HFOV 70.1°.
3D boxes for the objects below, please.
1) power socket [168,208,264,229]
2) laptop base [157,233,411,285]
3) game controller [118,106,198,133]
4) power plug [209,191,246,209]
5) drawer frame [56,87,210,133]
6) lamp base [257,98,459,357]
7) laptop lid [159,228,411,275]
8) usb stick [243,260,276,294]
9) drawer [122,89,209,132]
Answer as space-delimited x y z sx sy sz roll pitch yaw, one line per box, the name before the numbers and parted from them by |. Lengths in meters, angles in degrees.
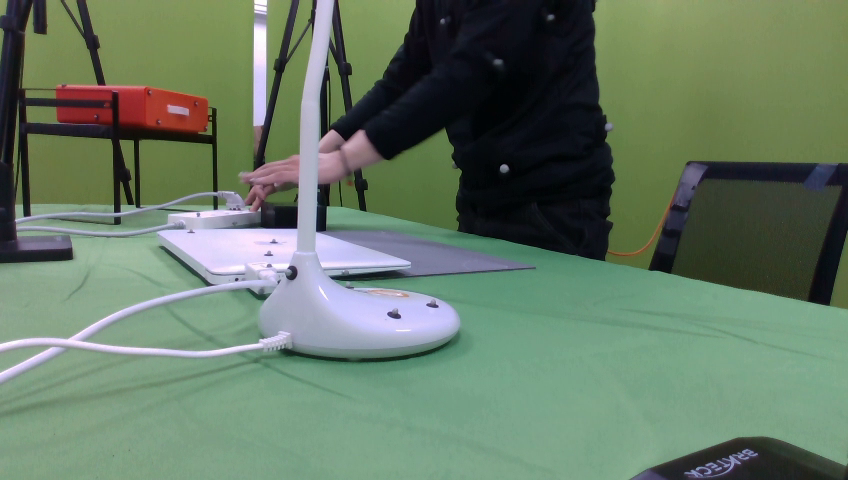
power socket | -0.381 -0.038 1.128 0.072 0.032 0.227 4 8 16
laptop base | -0.204 0.019 0.807 0.237 0.023 0.352 0 7 -33
game controller | -0.555 -0.251 1.255 0.097 0.051 0.155 9 12 18
power plug | -0.388 -0.071 1.204 0.072 0.052 0.035 4 8 25
drawer frame | -0.598 -0.269 1.261 0.213 0.082 0.202 4 8 14
lamp base | -0.055 -0.014 0.463 0.160 0.180 0.180 6 11 27
laptop lid | -0.201 0.007 0.806 0.243 0.013 0.355 -1 8 -31
usb stick | -0.166 0.035 0.603 0.021 0.027 0.059 -8 8 -29
drawer | -0.595 -0.268 1.263 0.211 0.073 0.195 4 8 15
